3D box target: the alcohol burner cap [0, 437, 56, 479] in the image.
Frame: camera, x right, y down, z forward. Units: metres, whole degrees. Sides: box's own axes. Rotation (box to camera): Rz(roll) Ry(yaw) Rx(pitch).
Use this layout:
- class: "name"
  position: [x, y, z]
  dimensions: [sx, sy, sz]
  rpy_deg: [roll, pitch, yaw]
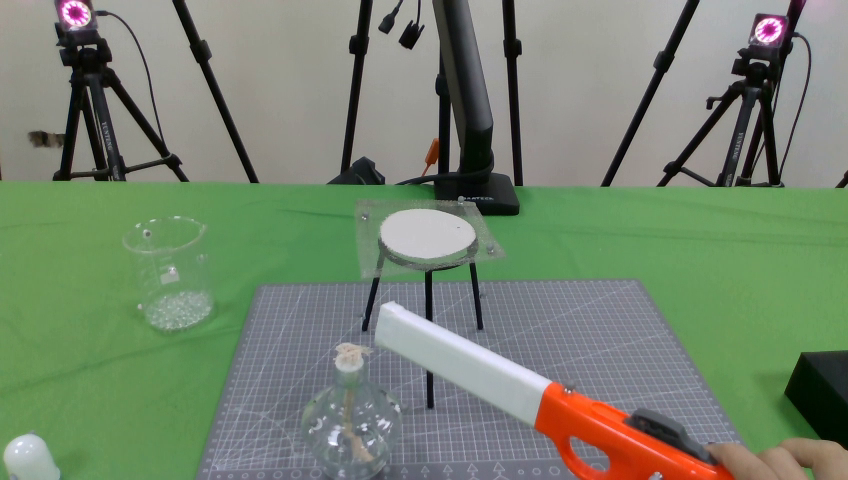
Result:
- class: "alcohol burner cap"
  position: [-0.299, 0.169, 0.452]
  dimensions: [0.034, 0.048, 0.033]
  rpy_deg: [3, 29, -2]

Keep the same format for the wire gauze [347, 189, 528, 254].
- class: "wire gauze"
  position: [0.009, -0.017, 0.527]
  dimensions: [0.125, 0.011, 0.120]
  rpy_deg: [-7, 26, -29]

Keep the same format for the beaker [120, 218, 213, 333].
- class: "beaker"
  position: [-0.258, 0.037, 0.624]
  dimensions: [0.084, 0.101, 0.073]
  rpy_deg: [-24, 40, -38]

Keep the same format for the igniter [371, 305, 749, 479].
- class: "igniter"
  position: [0.078, 0.105, 0.354]
  dimensions: [0.274, 0.057, 0.025]
  rpy_deg: [23, 20, 30]

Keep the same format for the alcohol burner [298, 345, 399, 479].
- class: "alcohol burner"
  position: [-0.057, 0.127, 0.462]
  dimensions: [0.078, 0.120, 0.077]
  rpy_deg: [3, 29, -1]

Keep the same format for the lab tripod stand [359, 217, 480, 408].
- class: "lab tripod stand"
  position: [0.001, 0.058, 0.565]
  dimensions: [0.148, 0.132, 0.147]
  rpy_deg: [3, 31, -2]
